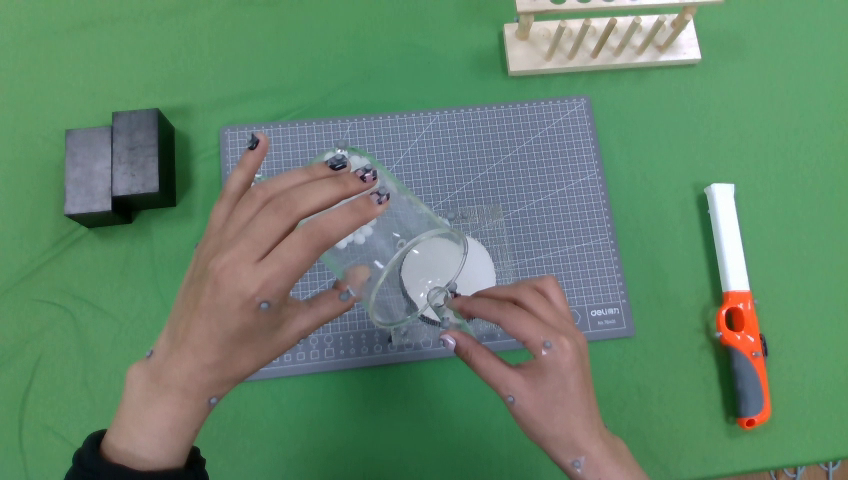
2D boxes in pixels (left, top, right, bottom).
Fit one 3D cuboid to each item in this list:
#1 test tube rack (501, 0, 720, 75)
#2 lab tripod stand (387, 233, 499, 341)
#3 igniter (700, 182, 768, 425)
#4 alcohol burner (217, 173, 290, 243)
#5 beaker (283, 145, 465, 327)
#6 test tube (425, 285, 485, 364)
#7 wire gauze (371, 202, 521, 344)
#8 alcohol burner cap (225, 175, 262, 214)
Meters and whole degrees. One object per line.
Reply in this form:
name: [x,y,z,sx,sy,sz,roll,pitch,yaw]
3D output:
test tube rack: [0.222,-0.258,0.732,0.242,0.085,0.066,-5,76,-3]
lab tripod stand: [0.016,0.049,0.621,0.148,0.132,0.147,0,75,0]
igniter: [0.351,0.067,0.687,0.057,0.025,0.275,0,76,-12]
alcohol burner: [-0.185,-0.040,0.644,0.078,0.119,0.077,0,74,-1]
beaker: [-0.033,-0.006,0.377,0.074,0.085,0.099,-45,62,-2]
test tube: [0.026,0.068,0.455,0.017,0.152,0.017,-7,63,13]
wire gauze: [0.020,0.029,0.556,0.125,0.011,0.121,-7,75,-4]
alcohol burner cap: [-0.183,-0.048,0.610,0.034,0.048,0.033,1,77,-5]
